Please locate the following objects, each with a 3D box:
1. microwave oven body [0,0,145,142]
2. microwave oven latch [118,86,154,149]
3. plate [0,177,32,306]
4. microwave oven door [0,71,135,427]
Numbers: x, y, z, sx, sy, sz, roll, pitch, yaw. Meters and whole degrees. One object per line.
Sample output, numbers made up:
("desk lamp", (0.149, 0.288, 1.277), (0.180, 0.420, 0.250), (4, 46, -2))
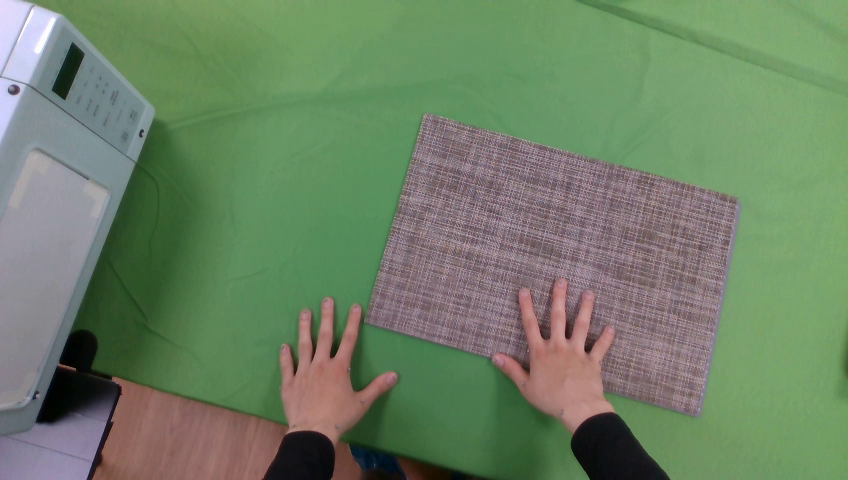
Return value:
("microwave oven body", (-0.566, -0.050, 0.662), (0.326, 0.261, 0.440), (16, 81, 0))
("microwave oven latch", (-0.378, -0.161, 0.784), (0.030, 0.029, 0.079), (18, 81, 0))
("plate", (-0.565, 0.006, 0.711), (0.209, 0.038, 0.208), (1, 83, -4))
("microwave oven door", (-0.437, 0.029, 0.650), (0.039, 0.244, 0.354), (16, 81, 1))
